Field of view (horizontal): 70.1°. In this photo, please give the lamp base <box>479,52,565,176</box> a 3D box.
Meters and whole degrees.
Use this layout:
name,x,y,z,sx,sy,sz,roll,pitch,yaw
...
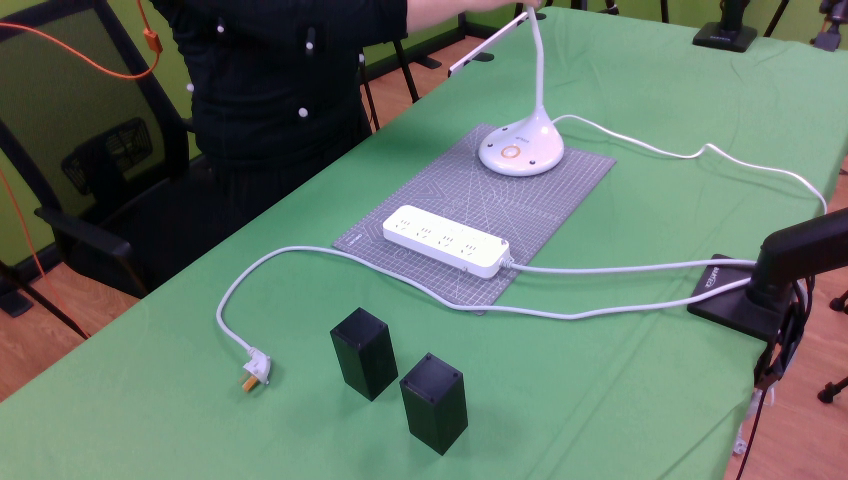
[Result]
name,x,y,z,sx,sy,sz,roll,pitch,yaw
lamp base,0.181,-0.235,1.094,0.159,0.181,0.179,18,44,27

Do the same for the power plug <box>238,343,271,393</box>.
name,x,y,z,sx,sy,sz,roll,pitch,yaw
power plug,-0.230,0.172,0.801,0.072,0.035,0.053,9,51,50

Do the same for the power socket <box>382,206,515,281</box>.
name,x,y,z,sx,sy,sz,roll,pitch,yaw
power socket,0.032,0.002,0.950,0.225,0.033,0.072,21,49,29
